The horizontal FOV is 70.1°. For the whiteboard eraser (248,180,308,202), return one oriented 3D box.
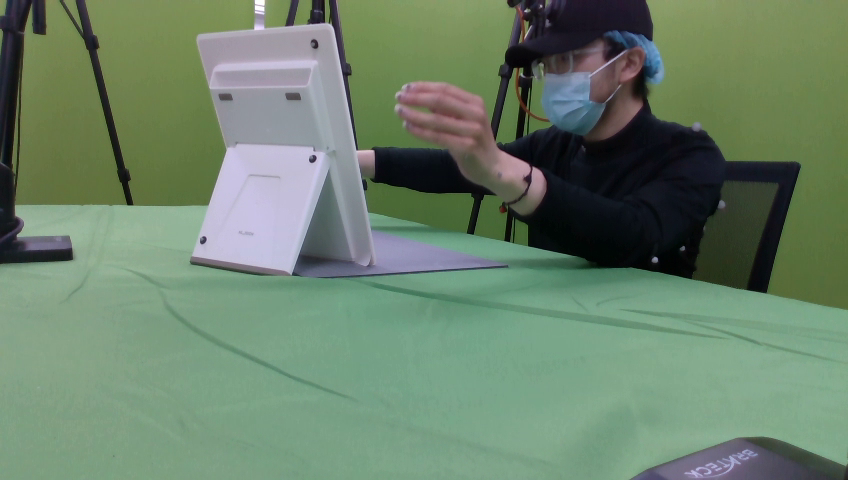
[{"bbox_3d":[-0.304,-0.102,1.264,0.113,0.042,0.055,-7,16,-37],"label":"whiteboard eraser"}]

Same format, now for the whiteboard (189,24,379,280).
[{"bbox_3d":[-0.207,-0.085,0.729,0.216,0.305,0.144,7,30,30],"label":"whiteboard"}]
